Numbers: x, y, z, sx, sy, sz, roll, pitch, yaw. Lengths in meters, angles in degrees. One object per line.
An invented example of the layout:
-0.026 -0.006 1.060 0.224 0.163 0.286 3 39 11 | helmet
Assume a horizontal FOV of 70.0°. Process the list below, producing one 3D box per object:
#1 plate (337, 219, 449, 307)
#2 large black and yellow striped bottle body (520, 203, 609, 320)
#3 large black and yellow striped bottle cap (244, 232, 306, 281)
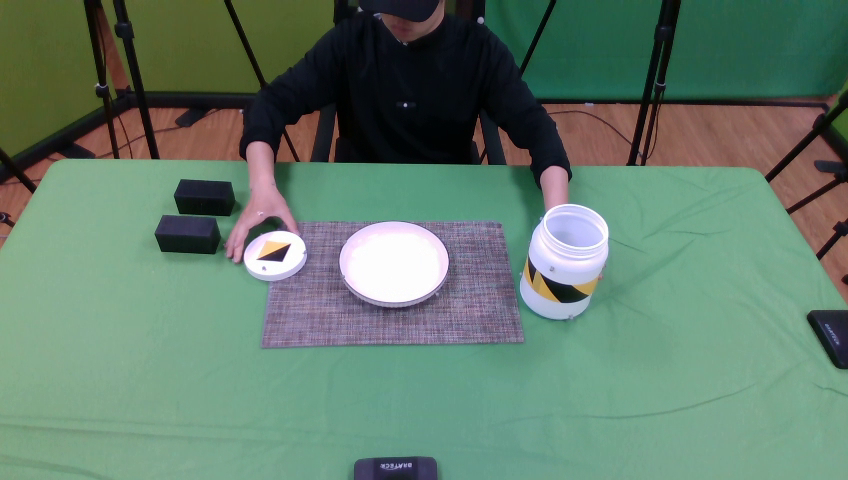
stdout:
-0.057 0.045 1.132 0.208 0.039 0.206 2 46 -2 | plate
0.247 0.038 1.065 0.131 0.185 0.130 2 46 -2 | large black and yellow striped bottle body
-0.282 0.030 1.146 0.115 0.019 0.114 -1 45 1 | large black and yellow striped bottle cap
